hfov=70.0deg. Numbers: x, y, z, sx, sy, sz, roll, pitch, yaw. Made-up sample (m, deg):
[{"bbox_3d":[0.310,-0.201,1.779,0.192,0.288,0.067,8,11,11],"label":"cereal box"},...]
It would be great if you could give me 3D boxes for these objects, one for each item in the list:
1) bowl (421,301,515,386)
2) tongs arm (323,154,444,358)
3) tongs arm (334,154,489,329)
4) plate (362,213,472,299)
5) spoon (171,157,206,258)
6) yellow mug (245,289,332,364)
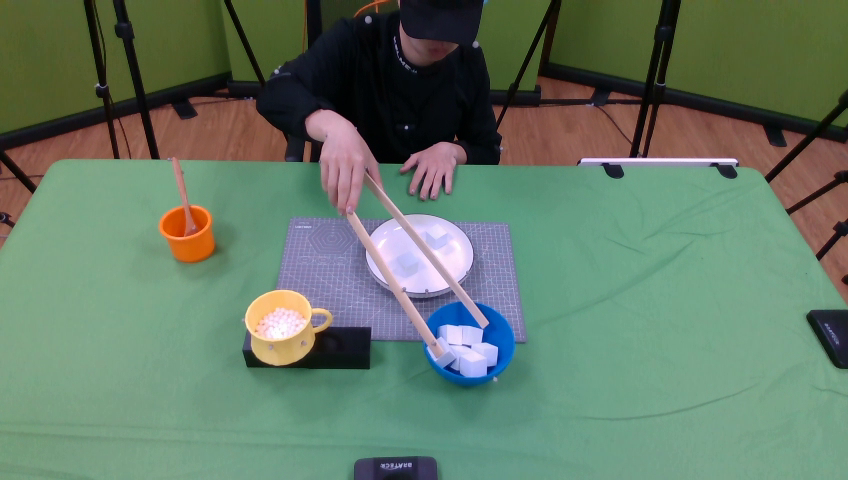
[{"bbox_3d":[0.068,0.182,0.990,0.151,0.077,0.150,2,46,-2],"label":"bowl"},{"bbox_3d":[-0.066,0.018,0.987,0.051,0.026,0.383,-26,73,-33],"label":"tongs arm"},{"bbox_3d":[-0.023,-0.003,1.020,0.028,0.028,0.386,-34,78,-32],"label":"tongs arm"},{"bbox_3d":[-0.013,0.034,1.150,0.208,0.039,0.206,2,46,-2],"label":"plate"},{"bbox_3d":[-0.444,-0.061,1.133,0.042,0.193,0.021,-12,4,-20],"label":"spoon"},{"bbox_3d":[-0.210,0.132,0.954,0.131,0.064,0.099,-9,48,-14],"label":"yellow mug"}]
